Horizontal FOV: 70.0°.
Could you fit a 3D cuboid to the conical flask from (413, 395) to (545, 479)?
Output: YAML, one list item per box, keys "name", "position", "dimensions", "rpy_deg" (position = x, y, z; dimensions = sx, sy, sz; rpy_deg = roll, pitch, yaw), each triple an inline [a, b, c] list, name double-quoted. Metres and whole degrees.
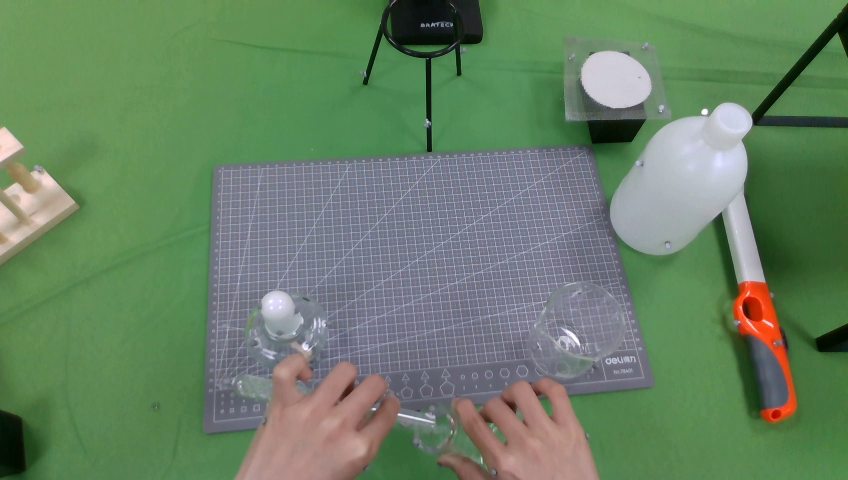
- name: "conical flask"
  position: [0.042, 0.157, 0.498]
  dimensions: [0.075, 0.123, 0.074]
  rpy_deg: [-19, 56, 32]

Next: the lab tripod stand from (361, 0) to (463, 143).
- name: "lab tripod stand"
  position: [-0.005, -0.207, 0.697]
  dimensions: [0.148, 0.132, 0.147]
  rpy_deg: [2, 66, -5]

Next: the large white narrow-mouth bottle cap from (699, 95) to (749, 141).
- name: "large white narrow-mouth bottle cap"
  position: [0.269, -0.110, 0.545]
  dimensions: [0.038, 0.024, 0.037]
  rpy_deg: [1, 65, -3]

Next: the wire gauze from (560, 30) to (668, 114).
- name: "wire gauze"
  position: [0.224, -0.201, 0.725]
  dimensions: [0.121, 0.011, 0.124]
  rpy_deg: [3, 65, -3]

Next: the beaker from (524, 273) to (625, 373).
- name: "beaker"
  position: [0.139, 0.086, 0.590]
  dimensions: [0.084, 0.101, 0.073]
  rpy_deg: [-7, 66, -6]

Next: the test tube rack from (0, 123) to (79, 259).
- name: "test tube rack"
  position: [-0.482, -0.002, 0.593]
  dimensions: [0.066, 0.086, 0.242]
  rpy_deg: [41, 69, 14]

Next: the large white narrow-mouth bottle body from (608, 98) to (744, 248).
- name: "large white narrow-mouth bottle body"
  position: [0.264, -0.073, 0.622]
  dimensions: [0.102, 0.196, 0.101]
  rpy_deg: [1, 65, -3]

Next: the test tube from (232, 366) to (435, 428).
- name: "test tube"
  position: [-0.064, 0.116, 0.444]
  dimensions: [0.151, 0.017, 0.017]
  rpy_deg: [16, 65, -12]

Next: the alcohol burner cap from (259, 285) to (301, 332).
- name: "alcohol burner cap"
  position: [-0.129, 0.058, 0.535]
  dimensions: [0.034, 0.048, 0.033]
  rpy_deg: [1, 60, -1]

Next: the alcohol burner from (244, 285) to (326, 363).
- name: "alcohol burner"
  position: [-0.132, 0.073, 0.568]
  dimensions: [0.078, 0.120, 0.077]
  rpy_deg: [3, 64, -5]

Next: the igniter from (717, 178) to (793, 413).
- name: "igniter"
  position: [0.358, 0.050, 0.666]
  dimensions: [0.057, 0.025, 0.274]
  rpy_deg: [6, 65, -13]
